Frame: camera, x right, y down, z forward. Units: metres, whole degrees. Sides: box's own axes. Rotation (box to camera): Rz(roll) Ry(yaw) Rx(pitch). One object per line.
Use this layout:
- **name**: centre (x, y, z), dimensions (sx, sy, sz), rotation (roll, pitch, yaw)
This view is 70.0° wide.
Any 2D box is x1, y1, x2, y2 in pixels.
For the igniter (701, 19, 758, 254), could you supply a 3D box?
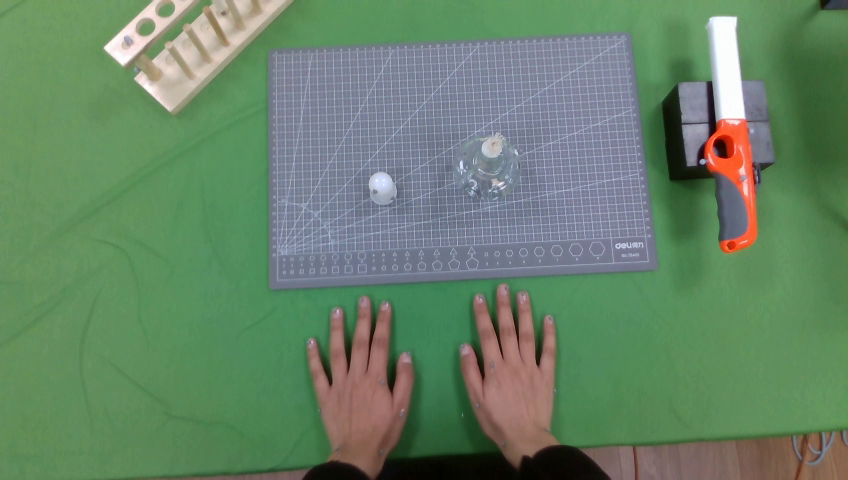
- **igniter**: centre (0.336, -0.119, 0.674), dimensions (0.057, 0.025, 0.275), rotation (1, 77, 3)

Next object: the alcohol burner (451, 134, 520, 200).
- **alcohol burner**: centre (0.069, -0.086, 0.668), dimensions (0.078, 0.119, 0.077), rotation (0, 77, -1)

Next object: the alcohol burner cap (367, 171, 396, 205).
- **alcohol burner cap**: centre (-0.050, -0.062, 0.700), dimensions (0.034, 0.048, 0.033), rotation (0, 79, 2)

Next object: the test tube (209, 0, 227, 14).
- **test tube**: centre (-0.251, -0.305, 0.677), dimensions (0.017, 0.151, 0.017), rotation (0, 74, 1)

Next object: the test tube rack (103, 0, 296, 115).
- **test tube rack**: centre (-0.249, -0.269, 0.720), dimensions (0.066, 0.085, 0.242), rotation (42, 82, 8)
